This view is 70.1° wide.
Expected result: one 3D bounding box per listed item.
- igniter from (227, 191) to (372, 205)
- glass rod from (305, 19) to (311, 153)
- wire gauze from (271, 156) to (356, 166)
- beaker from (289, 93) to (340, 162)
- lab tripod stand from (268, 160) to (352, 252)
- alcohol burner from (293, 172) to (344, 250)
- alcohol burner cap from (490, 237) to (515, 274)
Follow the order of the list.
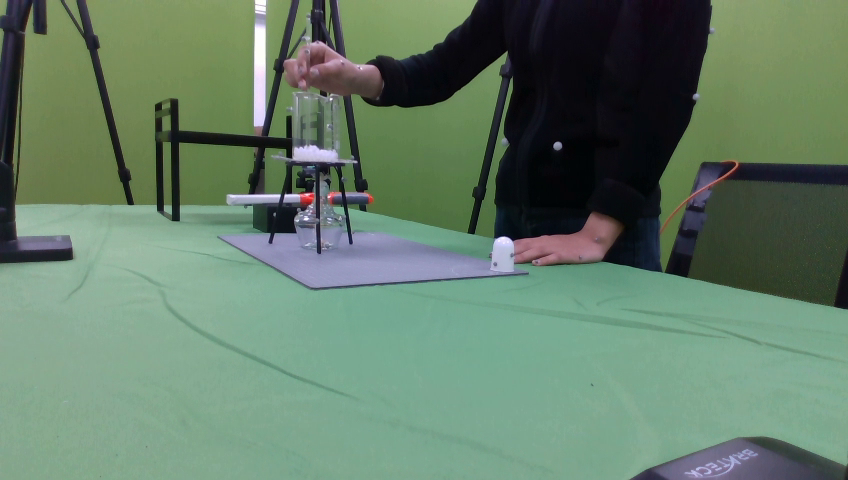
[{"bbox_3d":[-0.232,-0.080,1.161,0.278,0.025,0.057,-3,12,-28],"label":"igniter"},{"bbox_3d":[-0.177,-0.233,0.919,0.008,0.199,0.008,2,7,0],"label":"glass rod"},{"bbox_3d":[-0.166,-0.120,0.916,0.125,0.011,0.121,-2,6,-9],"label":"wire gauze"},{"bbox_3d":[-0.162,-0.167,0.908,0.074,0.100,0.083,-4,11,-31],"label":"beaker"},{"bbox_3d":[-0.171,-0.055,0.921,0.148,0.131,0.148,1,8,0],"label":"lab tripod stand"},{"bbox_3d":[-0.159,-0.044,0.921,0.078,0.119,0.078,5,7,0],"label":"alcohol burner"},{"bbox_3d":[0.104,0.020,0.793,0.034,0.048,0.034,2,7,0],"label":"alcohol burner cap"}]
